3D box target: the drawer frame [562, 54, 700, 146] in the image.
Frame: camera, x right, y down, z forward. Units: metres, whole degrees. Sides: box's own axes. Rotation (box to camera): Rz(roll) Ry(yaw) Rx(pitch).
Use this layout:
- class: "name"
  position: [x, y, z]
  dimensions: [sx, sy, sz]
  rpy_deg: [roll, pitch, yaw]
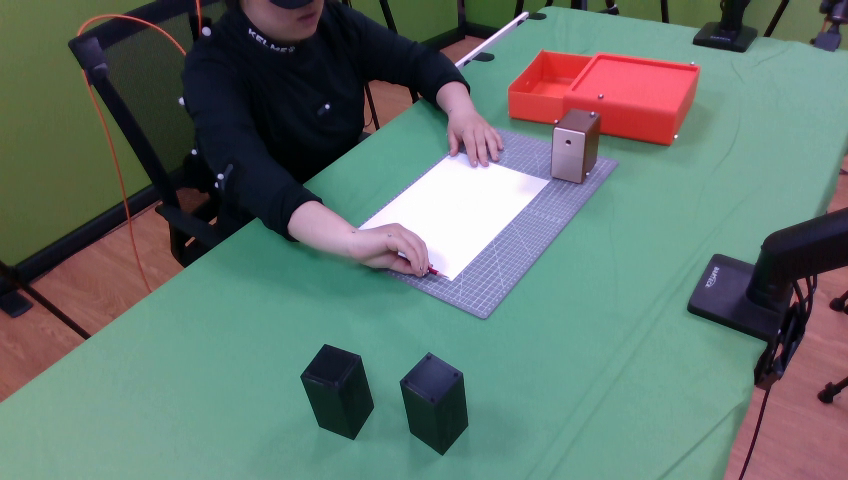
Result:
- class: "drawer frame"
  position: [0.407, -0.282, 1.195]
  dimensions: [0.212, 0.083, 0.202]
  rpy_deg: [17, 45, 25]

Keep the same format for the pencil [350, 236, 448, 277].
- class: "pencil"
  position: [-0.042, 0.026, 0.944]
  dimensions: [0.192, 0.012, 0.012]
  rpy_deg: [20, 47, 30]

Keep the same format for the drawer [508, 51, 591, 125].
- class: "drawer"
  position: [0.305, -0.309, 1.246]
  dimensions: [0.210, 0.073, 0.195]
  rpy_deg: [16, 45, 25]

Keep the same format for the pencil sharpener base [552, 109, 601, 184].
- class: "pencil sharpener base"
  position: [0.265, -0.163, 1.053]
  dimensions: [0.061, 0.107, 0.077]
  rpy_deg: [17, 46, 28]

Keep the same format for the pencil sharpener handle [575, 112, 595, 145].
- class: "pencil sharpener handle"
  position: [0.290, -0.203, 1.077]
  dimensions: [0.036, 0.068, 0.031]
  rpy_deg: [19, 47, 25]
